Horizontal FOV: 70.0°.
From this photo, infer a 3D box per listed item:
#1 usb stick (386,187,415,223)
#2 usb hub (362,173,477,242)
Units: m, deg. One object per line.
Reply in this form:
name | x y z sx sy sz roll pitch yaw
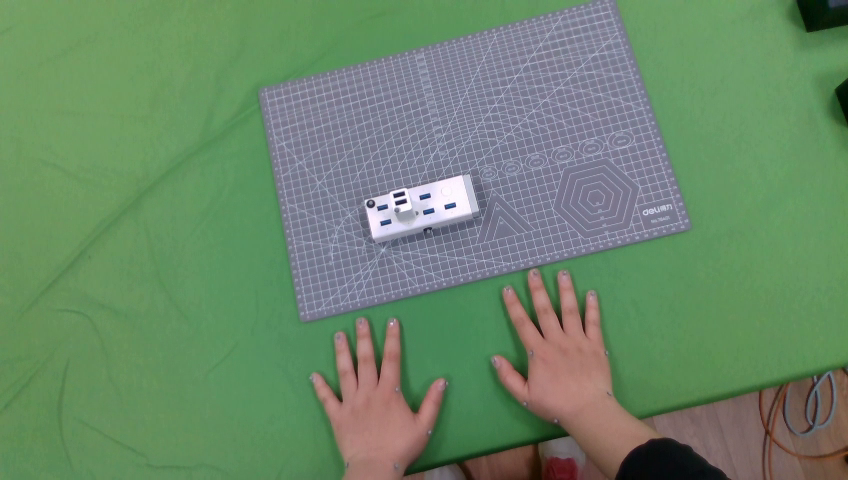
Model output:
usb stick | -0.025 -0.036 0.662 0.021 0.059 0.027 -18 74 2
usb hub | -0.005 -0.038 0.690 0.125 0.025 0.049 -14 77 2
